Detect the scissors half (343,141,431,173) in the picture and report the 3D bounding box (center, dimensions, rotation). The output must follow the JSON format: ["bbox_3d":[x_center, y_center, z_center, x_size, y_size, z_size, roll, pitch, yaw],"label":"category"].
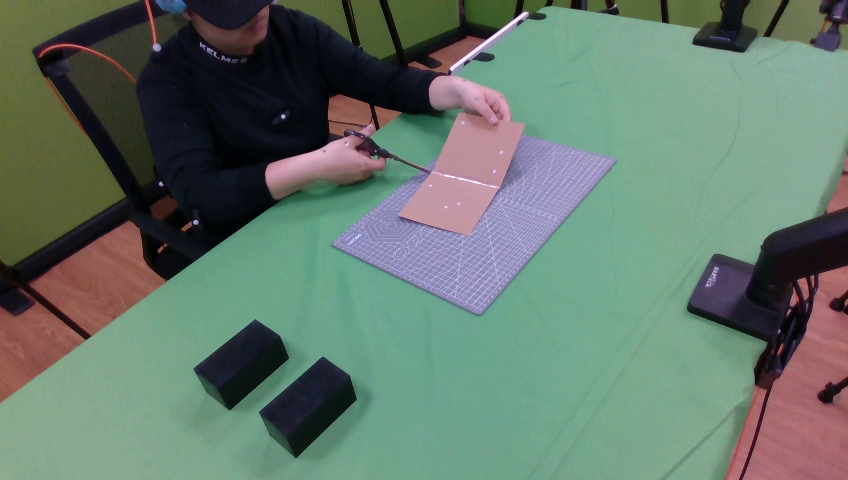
[{"bbox_3d":[-0.069,-0.150,1.124,0.174,0.040,0.013,18,72,13],"label":"scissors half"}]

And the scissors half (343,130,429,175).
[{"bbox_3d":[-0.067,-0.157,1.102,0.176,0.040,0.013,26,77,-13],"label":"scissors half"}]

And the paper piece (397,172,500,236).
[{"bbox_3d":[0.044,-0.066,1.041,0.135,0.004,0.135,17,49,22],"label":"paper piece"}]

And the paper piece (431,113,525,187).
[{"bbox_3d":[0.099,-0.167,1.103,0.135,0.009,0.138,17,71,20],"label":"paper piece"}]
